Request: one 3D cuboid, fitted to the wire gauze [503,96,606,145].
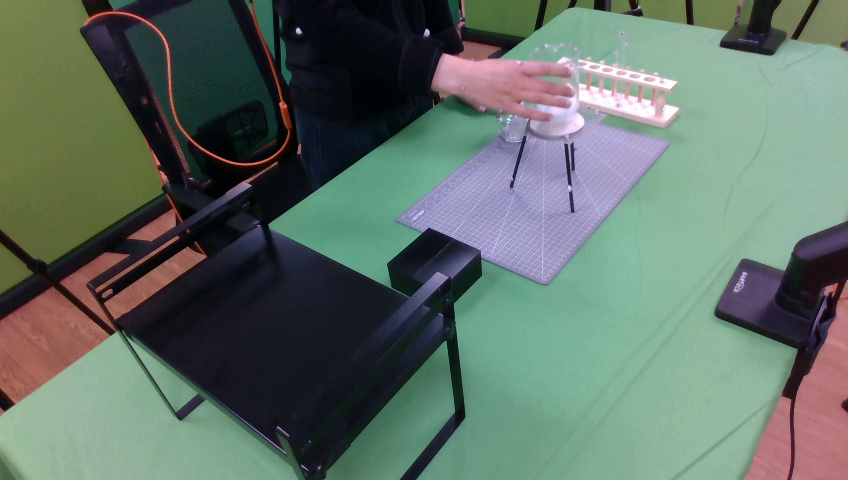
[{"bbox_3d":[0.211,-0.192,0.975,0.120,0.011,0.125,24,49,32],"label":"wire gauze"}]

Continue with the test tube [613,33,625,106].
[{"bbox_3d":[0.380,-0.330,1.180,0.017,0.151,0.017,-7,41,6],"label":"test tube"}]

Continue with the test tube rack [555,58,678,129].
[{"bbox_3d":[0.389,-0.307,1.229,0.240,0.085,0.067,25,51,33],"label":"test tube rack"}]

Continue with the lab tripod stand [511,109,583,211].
[{"bbox_3d":[0.220,-0.138,1.014,0.148,0.132,0.147,-3,41,3],"label":"lab tripod stand"}]

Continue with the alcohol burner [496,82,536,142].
[{"bbox_3d":[0.178,-0.250,1.168,0.078,0.119,0.077,-5,42,5],"label":"alcohol burner"}]

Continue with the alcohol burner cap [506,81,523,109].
[{"bbox_3d":[0.172,-0.277,1.145,0.034,0.048,0.033,1,39,0],"label":"alcohol burner cap"}]

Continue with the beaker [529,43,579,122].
[{"bbox_3d":[0.202,-0.243,0.933,0.074,0.101,0.083,-3,41,12],"label":"beaker"}]
